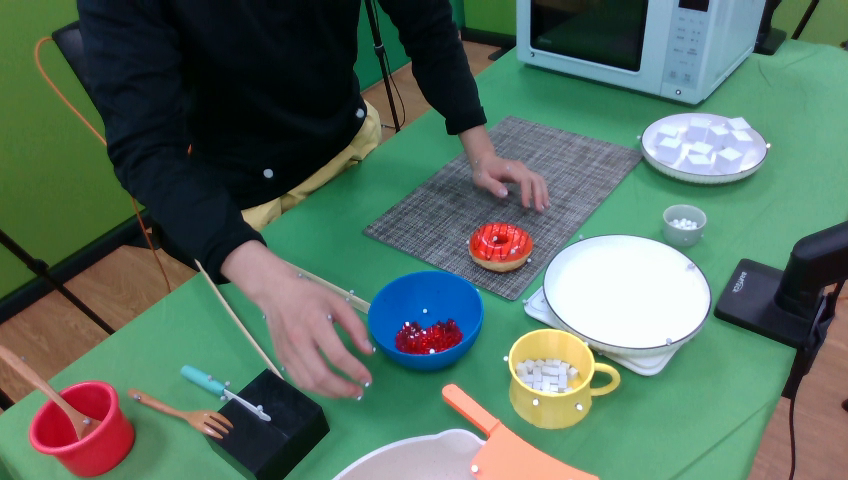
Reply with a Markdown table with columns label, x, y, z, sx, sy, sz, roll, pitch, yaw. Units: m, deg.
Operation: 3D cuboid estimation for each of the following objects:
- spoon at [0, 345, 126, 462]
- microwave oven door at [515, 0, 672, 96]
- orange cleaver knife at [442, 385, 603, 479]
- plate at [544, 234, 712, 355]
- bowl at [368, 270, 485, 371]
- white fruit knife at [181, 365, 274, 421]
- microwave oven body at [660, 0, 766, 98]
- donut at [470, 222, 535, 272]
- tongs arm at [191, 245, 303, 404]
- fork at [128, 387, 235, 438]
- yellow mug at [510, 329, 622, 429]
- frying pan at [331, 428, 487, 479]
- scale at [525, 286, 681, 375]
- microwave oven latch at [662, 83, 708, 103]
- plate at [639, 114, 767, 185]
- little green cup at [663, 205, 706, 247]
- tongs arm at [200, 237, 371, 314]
| label | x | y | z | sx | sy | sz | roll | pitch | yaw |
| --- | --- | --- | --- | --- | --- | --- | --- | --- | --- |
| spoon | -0.434 | 0.192 | 0.720 | 0.194 | 0.021 | 0.042 | 47 | 53 | -7 |
| microwave oven door | 0.343 | -0.454 | 1.259 | 0.353 | 0.245 | 0.039 | 26 | 51 | 33 |
| orange cleaver knife | 0.086 | 0.219 | 0.612 | 0.209 | 0.012 | 0.077 | 28 | 49 | 35 |
| plate | 0.262 | 0.072 | 0.792 | 0.209 | 0.038 | 0.208 | -4 | 41 | 4 |
| bowl | 0.007 | 0.118 | 0.791 | 0.151 | 0.077 | 0.150 | -4 | 40 | 4 |
| white fruit knife | -0.245 | 0.187 | 0.747 | 0.205 | 0.027 | 0.016 | 9 | 41 | 40 |
| microwave oven body | 0.472 | -0.513 | 1.317 | 0.438 | 0.261 | 0.327 | 26 | 51 | 34 |
| donut | 0.119 | 0.009 | 0.923 | 0.099 | 0.048 | 0.098 | -4 | 38 | 3 |
| tongs arm | -0.268 | 0.111 | 0.882 | 0.028 | 0.028 | 0.384 | -36 | 46 | -18 |
| fork | -0.305 | 0.208 | 0.744 | 0.206 | 0.019 | 0.028 | 3 | 41 | 36 |
| yellow mug | 0.168 | 0.164 | 0.721 | 0.130 | 0.064 | 0.099 | 0 | 40 | 8 |
| frying pan | -0.089 | 0.305 | 0.564 | 0.487 | 0.103 | 0.306 | 10 | 42 | 7 |
| scale | 0.254 | 0.091 | 0.821 | 0.199 | 0.032 | 0.149 | 28 | 51 | 35 |
| microwave oven latch | 0.518 | -0.297 | 1.204 | 0.078 | 0.029 | 0.030 | 29 | 53 | 36 |
| plate | 0.489 | -0.157 | 1.074 | 0.207 | 0.039 | 0.206 | -4 | 40 | 4 |
| little green cup | 0.396 | -0.020 | 0.926 | 0.061 | 0.039 | 0.061 | -4 | 40 | 4 |
| tongs arm | -0.209 | 0.063 | 0.924 | 0.381 | 0.026 | 0.051 | 22 | 53 | 32 |
